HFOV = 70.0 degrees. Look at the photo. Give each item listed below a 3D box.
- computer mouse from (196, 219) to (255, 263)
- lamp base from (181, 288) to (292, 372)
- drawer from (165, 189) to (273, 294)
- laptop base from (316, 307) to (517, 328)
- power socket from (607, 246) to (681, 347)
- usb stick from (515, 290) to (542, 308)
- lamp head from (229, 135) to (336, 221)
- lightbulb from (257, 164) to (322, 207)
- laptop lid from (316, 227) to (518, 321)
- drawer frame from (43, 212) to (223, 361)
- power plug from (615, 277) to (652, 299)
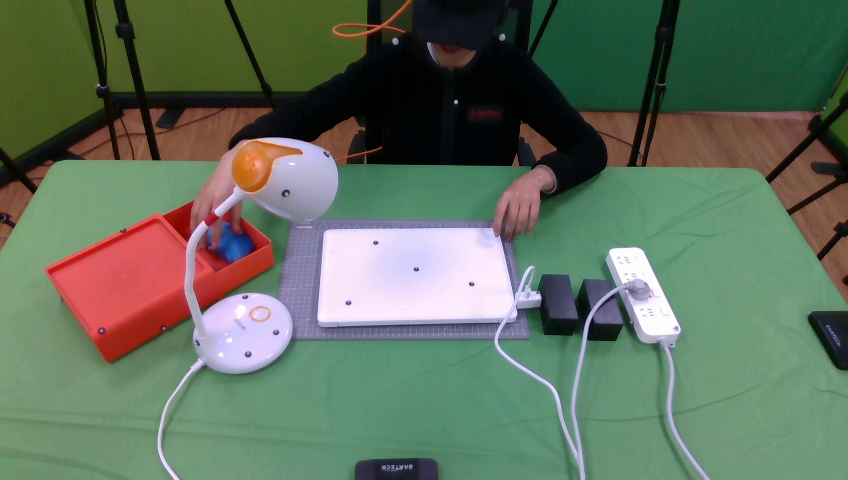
[{"bbox_3d":[-0.380,-0.004,1.152,0.116,0.041,0.062,26,53,29],"label":"computer mouse"},{"bbox_3d":[-0.309,0.108,0.959,0.160,0.181,0.179,29,55,22],"label":"lamp base"},{"bbox_3d":[-0.419,0.021,1.108,0.193,0.073,0.211,38,54,27],"label":"drawer"},{"bbox_3d":[-0.017,0.067,1.133,0.355,0.023,0.234,-1,42,-5],"label":"laptop base"},{"bbox_3d":[0.403,0.096,1.123,0.072,0.033,0.225,-3,47,-5],"label":"power socket"},{"bbox_3d":[0.181,0.107,1.089,0.059,0.027,0.021,-6,47,-4],"label":"usb stick"},{"bbox_3d":[-0.196,-0.085,0.791,0.112,0.112,0.123,36,14,27],"label":"lamp head"},{"bbox_3d":[-0.181,-0.078,0.810,0.059,0.059,0.108,36,11,28],"label":"lightbulb"},{"bbox_3d":[-0.016,0.057,1.126,0.357,0.013,0.240,0,43,-4],"label":"laptop lid"},{"bbox_3d":[-0.497,0.073,1.049,0.213,0.083,0.200,-34,57,-31],"label":"drawer frame"},{"bbox_3d":[0.375,0.088,1.096,0.072,0.053,0.035,6,46,2],"label":"power plug"}]
